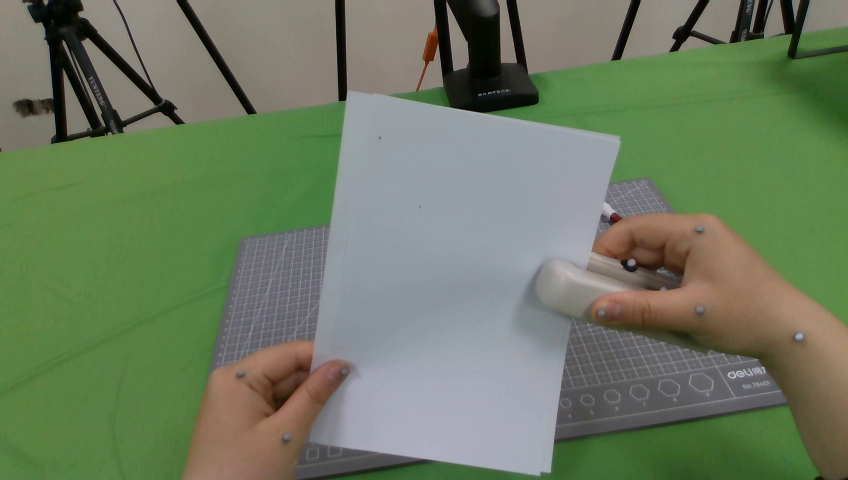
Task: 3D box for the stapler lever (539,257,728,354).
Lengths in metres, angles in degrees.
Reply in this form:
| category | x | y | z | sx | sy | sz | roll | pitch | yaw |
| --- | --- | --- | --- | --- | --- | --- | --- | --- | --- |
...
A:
| category | x | y | z | sx | sy | sz | roll | pitch | yaw |
| --- | --- | --- | --- | --- | --- | --- | --- | --- | --- |
| stapler lever | 0.125 | 0.041 | 0.359 | 0.118 | 0.027 | 0.040 | 20 | 19 | -4 |

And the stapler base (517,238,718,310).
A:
| category | x | y | z | sx | sy | sz | roll | pitch | yaw |
| --- | --- | --- | --- | --- | --- | --- | --- | --- | --- |
| stapler base | 0.123 | 0.036 | 0.374 | 0.131 | 0.041 | 0.024 | 17 | 19 | -13 |

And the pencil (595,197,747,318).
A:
| category | x | y | z | sx | sy | sz | roll | pitch | yaw |
| --- | --- | --- | --- | --- | --- | --- | --- | --- | --- |
| pencil | 0.220 | 0.011 | 0.558 | 0.012 | 0.012 | 0.192 | -21 | 41 | -16 |
